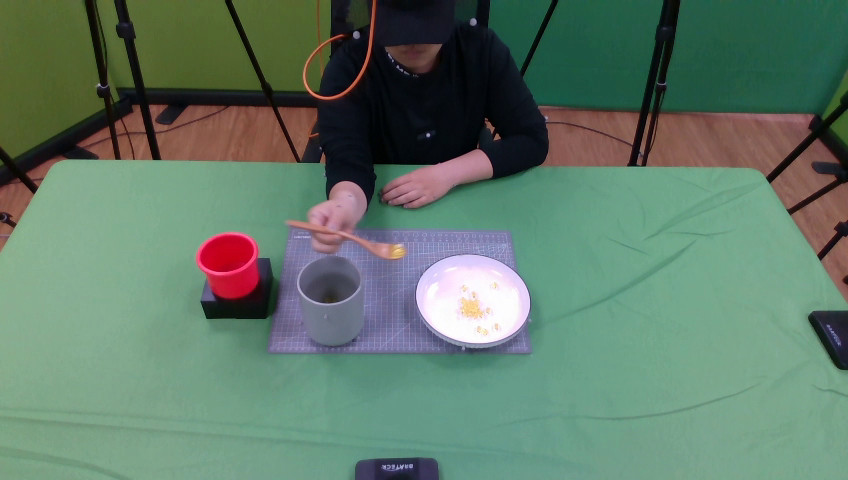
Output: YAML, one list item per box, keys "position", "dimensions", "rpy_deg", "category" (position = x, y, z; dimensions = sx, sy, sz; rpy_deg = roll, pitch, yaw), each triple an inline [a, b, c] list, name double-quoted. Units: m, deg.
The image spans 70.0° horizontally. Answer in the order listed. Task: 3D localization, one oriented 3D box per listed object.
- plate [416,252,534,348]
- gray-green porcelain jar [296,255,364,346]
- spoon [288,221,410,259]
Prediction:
- position: [0.090, 0.109, 1.084]
  dimensions: [0.208, 0.039, 0.206]
  rpy_deg: [2, 46, -2]
  category: "plate"
- position: [-0.153, 0.106, 1.008]
  dimensions: [0.106, 0.127, 0.105]
  rpy_deg: [2, 46, -2]
  category: "gray-green porcelain jar"
- position: [-0.114, -0.004, 0.942]
  dimensions: [0.194, 0.022, 0.041]
  rpy_deg: [18, 34, -19]
  category: "spoon"
